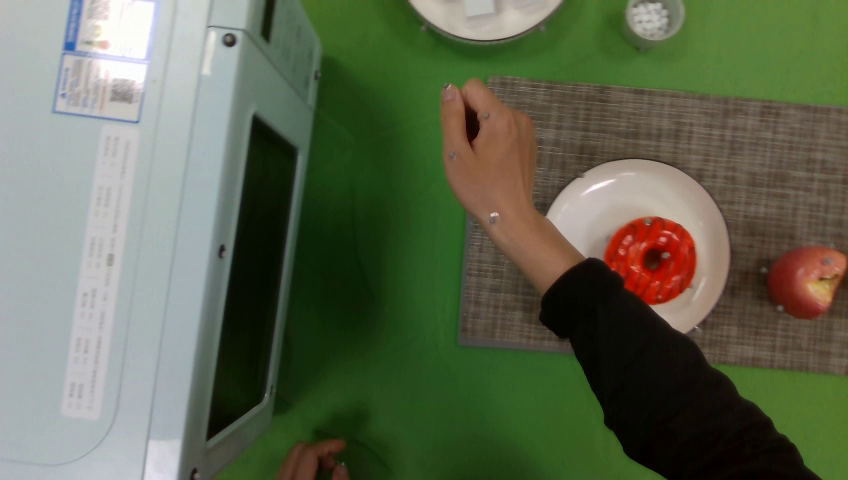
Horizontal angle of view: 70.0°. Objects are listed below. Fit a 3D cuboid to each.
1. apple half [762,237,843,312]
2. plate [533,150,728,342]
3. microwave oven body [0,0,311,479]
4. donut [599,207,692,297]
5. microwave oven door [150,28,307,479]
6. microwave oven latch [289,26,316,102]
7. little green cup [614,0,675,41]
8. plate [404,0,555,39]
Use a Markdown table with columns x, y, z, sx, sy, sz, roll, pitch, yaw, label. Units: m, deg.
| x | y | z | sx | sy | sz | roll | pitch | yaw | label |
| --- | --- | --- | --- | --- | --- | --- | --- | --- | --- |
| 0.394 | 0.031 | 0.646 | 0.053 | 0.075 | 0.081 | 24 | 93 | 6 | apple half |
| 0.223 | 0.006 | 0.668 | 0.209 | 0.038 | 0.209 | 0 | 89 | 2 | plate |
| -0.309 | -0.039 | 0.572 | 0.326 | 0.260 | 0.441 | 7 | 90 | 1 | microwave oven body |
| 0.240 | 0.013 | 0.657 | 0.099 | 0.048 | 0.099 | 0 | 91 | 3 | donut |
| -0.170 | 0.020 | 0.562 | 0.039 | 0.244 | 0.355 | 6 | 89 | 2 | microwave oven door |
| -0.138 | -0.195 | 0.666 | 0.030 | 0.029 | 0.079 | 8 | 90 | 1 | microwave oven latch |
| 0.243 | -0.253 | 0.675 | 0.061 | 0.038 | 0.061 | 0 | 89 | 2 | little green cup |
| 0.063 | -0.326 | 0.681 | 0.207 | 0.039 | 0.207 | 0 | 89 | 2 | plate |
